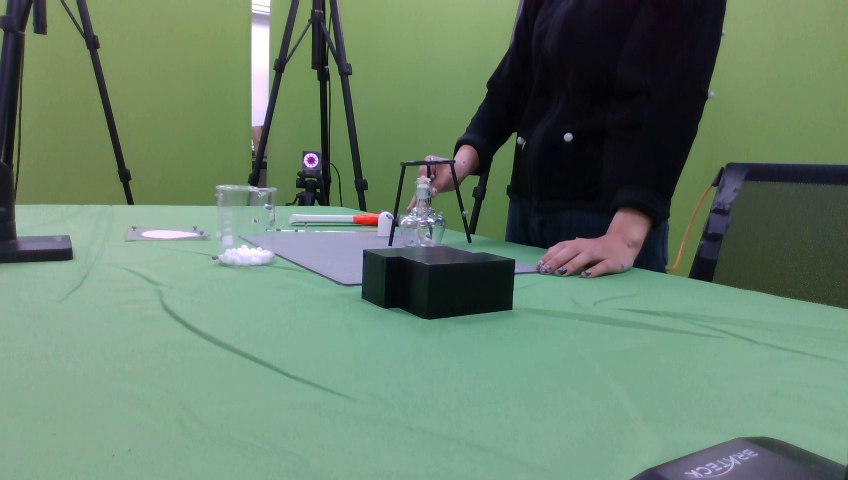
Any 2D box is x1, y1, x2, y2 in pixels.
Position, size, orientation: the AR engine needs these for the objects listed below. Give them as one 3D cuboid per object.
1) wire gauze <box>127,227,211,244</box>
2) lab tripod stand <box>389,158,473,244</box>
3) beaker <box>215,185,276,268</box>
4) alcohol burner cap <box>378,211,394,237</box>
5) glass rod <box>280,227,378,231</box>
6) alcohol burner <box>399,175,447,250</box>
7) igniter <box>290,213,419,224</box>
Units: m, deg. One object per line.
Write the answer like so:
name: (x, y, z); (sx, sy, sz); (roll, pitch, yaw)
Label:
wire gauze: (-0.420, -0.010, 0.999); (0.122, 0.011, 0.124); (-2, 10, -24)
lab tripod stand: (0.008, -0.062, 0.959); (0.148, 0.131, 0.148); (-2, 8, 1)
beaker: (-0.226, -0.019, 0.773); (0.074, 0.100, 0.084); (5, 7, 14)
alcohol burner cap: (-0.069, -0.030, 1.112); (0.034, 0.048, 0.034); (2, 9, 0)
glass rod: (-0.175, -0.021, 1.161); (0.200, 0.008, 0.008); (0, 7, -15)
alcohol burner: (-0.001, -0.044, 0.962); (0.078, 0.119, 0.078); (0, 8, 0)
igniter: (-0.143, -0.046, 1.288); (0.278, 0.025, 0.057); (-1, -3, -24)
